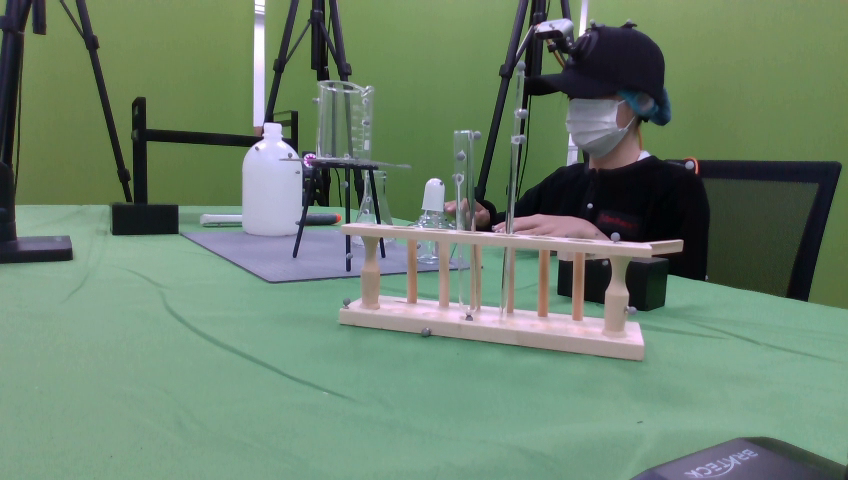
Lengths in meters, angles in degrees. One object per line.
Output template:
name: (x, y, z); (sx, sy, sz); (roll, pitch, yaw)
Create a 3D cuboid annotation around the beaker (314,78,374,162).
beaker: (-0.101, -0.151, 0.775); (0.074, 0.100, 0.083); (-2, 8, -39)

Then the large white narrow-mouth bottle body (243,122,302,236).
large white narrow-mouth bottle body: (-0.264, -0.109, 1.061); (0.102, 0.194, 0.102); (2, 8, 0)

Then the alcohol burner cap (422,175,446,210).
alcohol burner cap: (0.016, -0.065, 0.830); (0.034, 0.048, 0.034); (7, 4, 0)

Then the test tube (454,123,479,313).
test tube: (0.034, -0.016, 0.477); (0.017, 0.150, 0.017); (-2, 9, 1)

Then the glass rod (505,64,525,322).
glass rod: (0.069, -0.030, 0.458); (0.008, 0.199, 0.008); (0, 15, 0)

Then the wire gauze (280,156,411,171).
wire gauze: (-0.103, -0.103, 0.785); (0.121, 0.011, 0.126); (11, 8, 42)

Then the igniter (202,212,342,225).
igniter: (-0.298, -0.044, 1.216); (0.278, 0.025, 0.057); (-3, -2, -32)

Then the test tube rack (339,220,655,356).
test tube rack: (0.056, 0.032, 0.495); (0.242, 0.085, 0.067); (4, 7, 15)

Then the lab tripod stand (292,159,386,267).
lab tripod stand: (-0.105, -0.039, 0.797); (0.148, 0.131, 0.148); (2, 5, 0)

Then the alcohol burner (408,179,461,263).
alcohol burner: (0.014, -0.029, 0.834); (0.078, 0.119, 0.078); (0, 6, 0)

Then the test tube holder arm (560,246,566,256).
test tube holder arm: (0.173, 0.007, 0.611); (0.088, 0.015, 0.010); (-3, 9, -30)

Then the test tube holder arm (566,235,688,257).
test tube holder arm: (0.215, 0.006, 0.629); (0.179, 0.015, 0.013); (-3, 9, -30)

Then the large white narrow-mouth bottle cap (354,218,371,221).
large white narrow-mouth bottle cap: (-0.120, -0.029, 1.184); (0.038, 0.024, 0.037); (2, 8, 0)

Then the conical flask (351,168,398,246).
conical flask: (-0.078, -0.053, 0.962); (0.075, 0.122, 0.075); (2, 7, 0)
